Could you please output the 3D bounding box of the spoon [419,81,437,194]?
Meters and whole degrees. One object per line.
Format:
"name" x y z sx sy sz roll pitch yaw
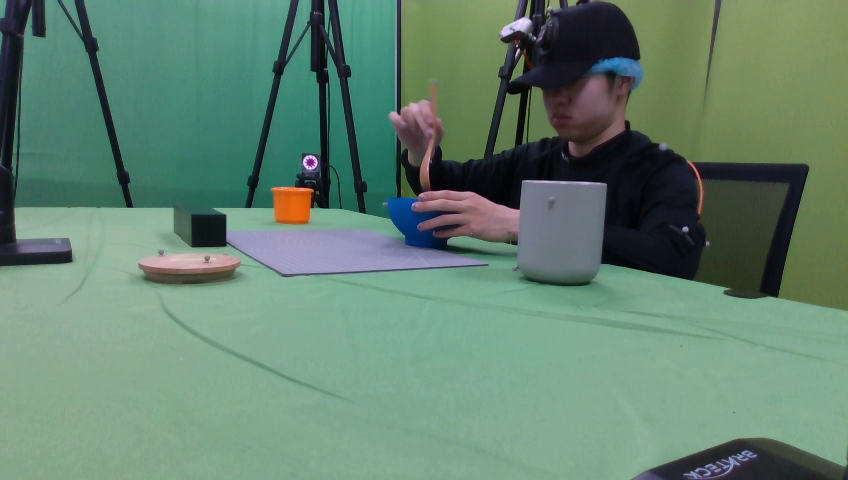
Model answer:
"spoon" 0.011 -0.176 1.037 0.022 0.193 0.041 9 -4 -14

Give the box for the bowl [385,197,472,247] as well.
"bowl" 0.005 -0.031 1.046 0.151 0.077 0.151 5 5 0

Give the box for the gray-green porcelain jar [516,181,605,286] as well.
"gray-green porcelain jar" 0.172 -0.010 0.768 0.106 0.126 0.106 2 7 0

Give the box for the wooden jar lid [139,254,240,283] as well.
"wooden jar lid" -0.269 0.032 0.698 0.108 0.020 0.108 2 5 0
